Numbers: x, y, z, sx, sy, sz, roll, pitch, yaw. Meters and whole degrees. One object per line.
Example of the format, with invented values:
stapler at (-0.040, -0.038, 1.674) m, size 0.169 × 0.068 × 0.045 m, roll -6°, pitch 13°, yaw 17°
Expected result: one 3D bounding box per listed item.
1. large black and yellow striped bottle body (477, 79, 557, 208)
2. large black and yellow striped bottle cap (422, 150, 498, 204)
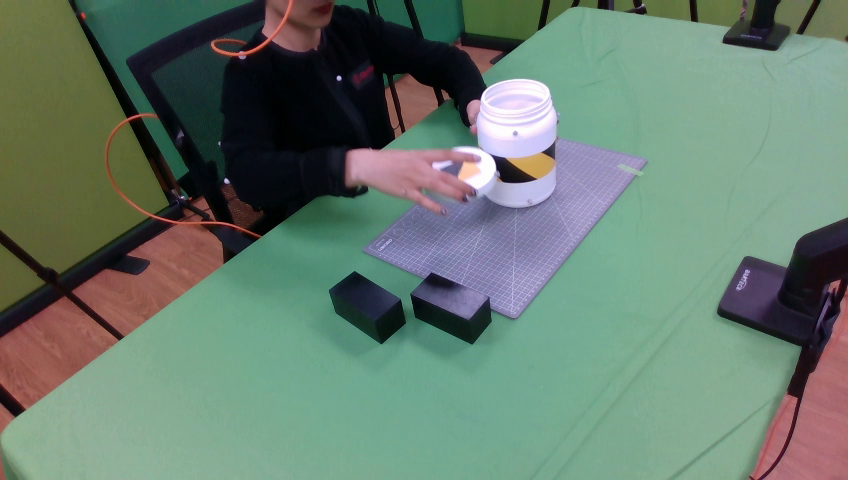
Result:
large black and yellow striped bottle body at (0.157, -0.162, 1.013) m, size 0.131 × 0.185 × 0.130 m, roll -6°, pitch 40°, yaw 5°
large black and yellow striped bottle cap at (0.055, -0.099, 0.919) m, size 0.115 × 0.019 × 0.114 m, roll -5°, pitch 44°, yaw 6°
